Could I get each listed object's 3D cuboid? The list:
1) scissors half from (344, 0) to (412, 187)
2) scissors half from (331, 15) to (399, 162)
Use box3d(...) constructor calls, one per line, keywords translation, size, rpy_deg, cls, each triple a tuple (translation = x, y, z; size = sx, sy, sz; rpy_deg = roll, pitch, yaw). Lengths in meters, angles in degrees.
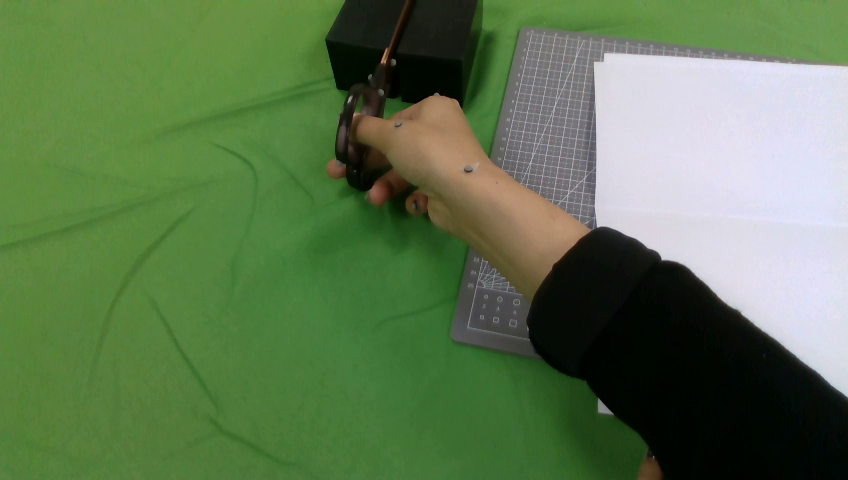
box3d(translation=(-0.028, -0.120, 0.455), size=(0.012, 0.040, 0.174), rpy_deg=(9, 76, 18), cls="scissors half")
box3d(translation=(-0.032, -0.128, 0.437), size=(0.013, 0.040, 0.174), rpy_deg=(11, 58, 13), cls="scissors half")
